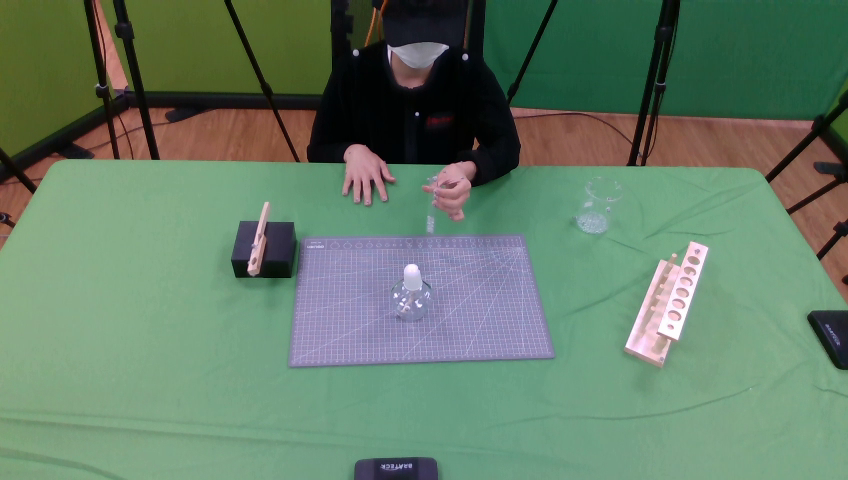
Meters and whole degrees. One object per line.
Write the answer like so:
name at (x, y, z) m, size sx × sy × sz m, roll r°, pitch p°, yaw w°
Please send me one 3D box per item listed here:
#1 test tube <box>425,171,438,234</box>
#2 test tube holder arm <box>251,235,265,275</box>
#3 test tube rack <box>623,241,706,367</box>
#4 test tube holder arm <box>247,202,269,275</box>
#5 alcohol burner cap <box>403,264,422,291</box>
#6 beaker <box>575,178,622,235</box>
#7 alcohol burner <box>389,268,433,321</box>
test tube at (0.013, -0.065, 1.108) m, size 0.017 × 0.151 × 0.017 m, roll 2°, pitch 47°, yaw -2°
test tube holder arm at (-0.297, 0.025, 1.084) m, size 0.010 × 0.015 × 0.087 m, roll -6°, pitch 46°, yaw 2°
test tube rack at (0.435, 0.104, 1.089) m, size 0.066 × 0.085 × 0.242 m, roll 24°, pitch 49°, yaw 18°
test tube holder arm at (-0.304, -0.006, 1.116) m, size 0.013 × 0.015 × 0.177 m, roll -6°, pitch 46°, yaw 2°
alcohol burner cap at (-0.021, 0.060, 1.021) m, size 0.034 × 0.048 × 0.033 m, roll -2°, pitch 46°, yaw 2°
beaker at (0.356, -0.068, 1.240) m, size 0.084 × 0.101 × 0.073 m, roll -18°, pitch 50°, yaw -21°
alcohol burner at (-0.022, 0.085, 1.046) m, size 0.078 × 0.119 × 0.077 m, roll 2°, pitch 48°, yaw -2°
